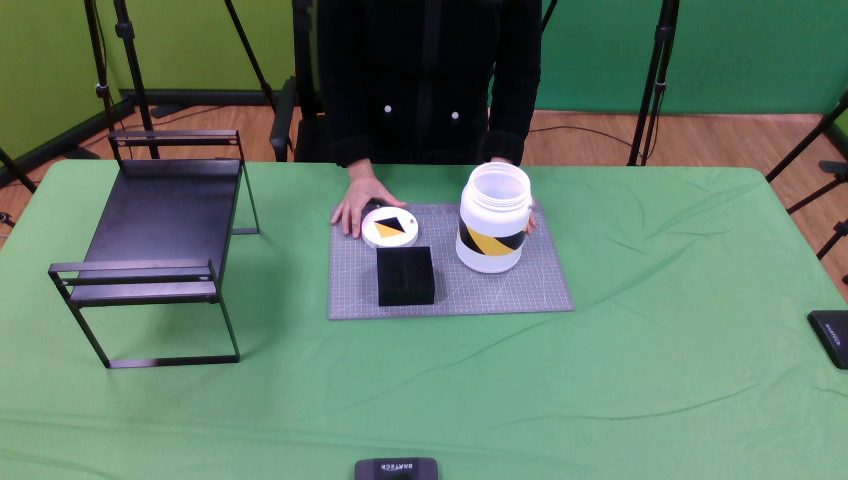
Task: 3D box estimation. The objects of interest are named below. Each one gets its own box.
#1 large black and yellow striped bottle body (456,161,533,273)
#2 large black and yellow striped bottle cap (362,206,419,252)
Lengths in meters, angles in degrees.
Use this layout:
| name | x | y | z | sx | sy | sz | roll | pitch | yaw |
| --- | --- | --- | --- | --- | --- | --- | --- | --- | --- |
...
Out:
| name | x | y | z | sx | sy | sz | roll | pitch | yaw |
| --- | --- | --- | --- | --- | --- | --- | --- | --- | --- |
| large black and yellow striped bottle body | 0.131 | -0.042 | 1.129 | 0.131 | 0.185 | 0.130 | 2 | 46 | -2 |
| large black and yellow striped bottle cap | -0.067 | -0.024 | 1.214 | 0.115 | 0.019 | 0.114 | 1 | 47 | -1 |
